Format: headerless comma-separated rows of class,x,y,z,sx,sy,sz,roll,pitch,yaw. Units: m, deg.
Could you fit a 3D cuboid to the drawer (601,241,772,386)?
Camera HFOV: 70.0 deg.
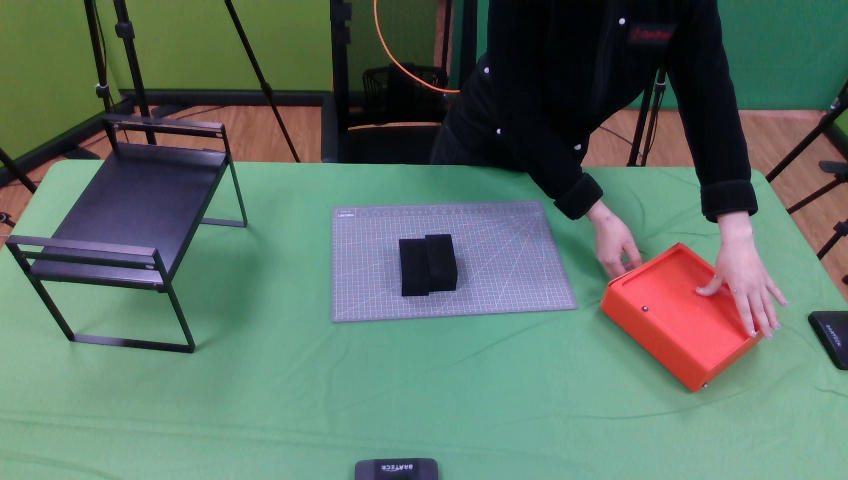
drawer,0.458,0.123,1.070,0.194,0.073,0.210,-25,53,-25

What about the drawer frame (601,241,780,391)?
drawer frame,0.462,0.125,1.065,0.202,0.083,0.212,-26,54,-26

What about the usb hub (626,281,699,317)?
usb hub,0.434,0.108,1.103,0.125,0.025,0.049,-9,46,-19
